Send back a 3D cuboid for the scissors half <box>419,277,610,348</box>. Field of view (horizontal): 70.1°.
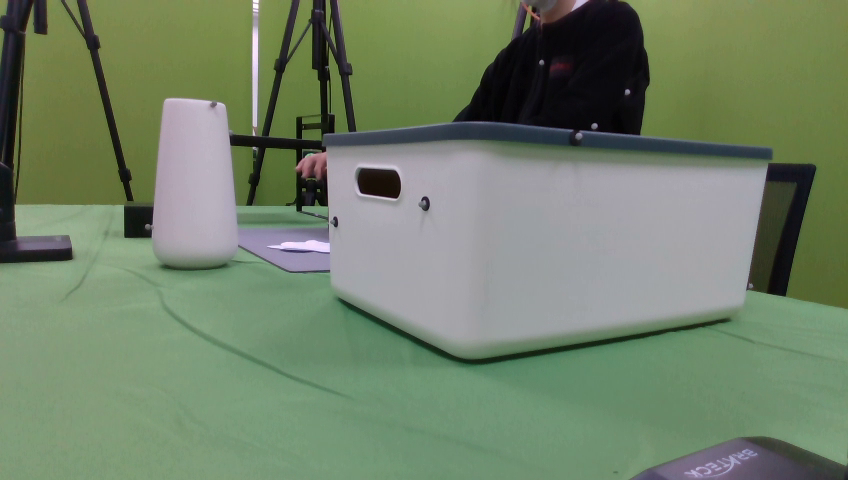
[{"bbox_3d":[0.076,0.067,0.533,0.174,0.040,0.013,14,50,24],"label":"scissors half"}]

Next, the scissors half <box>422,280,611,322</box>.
[{"bbox_3d":[0.073,0.057,0.524,0.174,0.040,0.013,5,39,30],"label":"scissors half"}]

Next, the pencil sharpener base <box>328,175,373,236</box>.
[{"bbox_3d":[-0.139,-0.065,1.119,0.062,0.107,0.076,-2,8,-31],"label":"pencil sharpener base"}]

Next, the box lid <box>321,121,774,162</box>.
[{"bbox_3d":[0.114,-0.085,0.573,0.373,0.015,0.262,-2,7,-33],"label":"box lid"}]

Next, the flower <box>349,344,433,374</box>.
[{"bbox_3d":[0.103,0.072,0.592,0.362,0.044,0.038,-17,44,-9],"label":"flower"}]

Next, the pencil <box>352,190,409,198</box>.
[{"bbox_3d":[-0.079,-0.080,1.025,0.012,0.012,0.193,-2,6,-33],"label":"pencil"}]

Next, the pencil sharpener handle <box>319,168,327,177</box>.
[{"bbox_3d":[-0.172,-0.110,1.152,0.036,0.068,0.030,-45,27,-18],"label":"pencil sharpener handle"}]

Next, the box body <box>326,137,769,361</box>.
[{"bbox_3d":[0.112,-0.010,0.583,0.366,0.160,0.253,-2,9,-33],"label":"box body"}]

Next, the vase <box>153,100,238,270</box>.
[{"bbox_3d":[-0.278,-0.066,0.736,0.098,0.200,0.098,2,9,0],"label":"vase"}]
